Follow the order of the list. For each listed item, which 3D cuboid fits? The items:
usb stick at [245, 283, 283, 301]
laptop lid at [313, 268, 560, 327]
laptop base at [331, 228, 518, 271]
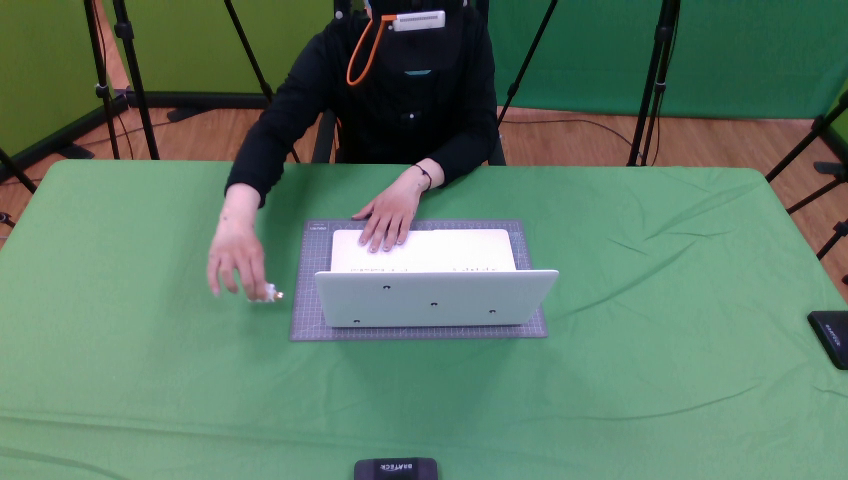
[{"bbox_3d":[-0.269,0.088,1.025,0.059,0.027,0.021,2,38,3],"label":"usb stick"},{"bbox_3d":[0.015,0.095,0.948,0.357,0.242,0.013,0,64,-5],"label":"laptop lid"},{"bbox_3d":[0.003,0.063,1.135,0.355,0.023,0.234,-1,43,-4],"label":"laptop base"}]
